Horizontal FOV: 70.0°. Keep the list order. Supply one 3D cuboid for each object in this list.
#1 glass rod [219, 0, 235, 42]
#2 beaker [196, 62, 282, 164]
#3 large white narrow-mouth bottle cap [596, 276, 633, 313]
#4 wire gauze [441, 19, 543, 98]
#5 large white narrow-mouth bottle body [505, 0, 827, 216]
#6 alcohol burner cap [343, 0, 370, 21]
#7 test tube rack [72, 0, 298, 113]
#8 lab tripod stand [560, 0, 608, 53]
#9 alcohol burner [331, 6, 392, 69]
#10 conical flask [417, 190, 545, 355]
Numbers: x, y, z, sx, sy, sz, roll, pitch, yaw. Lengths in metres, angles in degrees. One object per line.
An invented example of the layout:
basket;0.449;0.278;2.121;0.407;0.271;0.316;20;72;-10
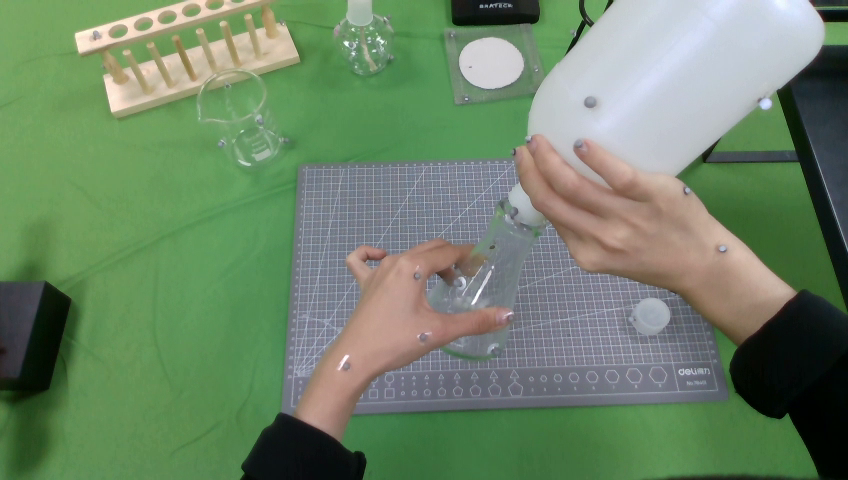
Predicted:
glass rod;-0.244;-0.308;0.712;0.008;0.201;0.008;2;63;-4
beaker;-0.211;-0.140;0.700;0.084;0.101;0.073;-42;70;-17
large white narrow-mouth bottle cap;0.204;0.059;0.650;0.038;0.024;0.037;-1;64;2
wire gauze;0.089;-0.244;0.799;0.121;0.011;0.124;-6;65;-4
large white narrow-mouth bottle body;0.125;-0.086;0.370;0.102;0.195;0.101;31;33;-23
alcohol burner cap;-0.079;-0.290;0.722;0.034;0.048;0.033;4;63;-8
test tube rack;-0.290;-0.246;0.757;0.242;0.086;0.066;-20;66;-9
lab tripod stand;0.218;-0.236;0.726;0.148;0.132;0.147;1;64;-1
alcohol burner;-0.079;-0.272;0.754;0.078;0.120;0.077;0;63;0
conical flask;0.047;0.022;0.451;0.075;0.122;0.074;16;35;-11
